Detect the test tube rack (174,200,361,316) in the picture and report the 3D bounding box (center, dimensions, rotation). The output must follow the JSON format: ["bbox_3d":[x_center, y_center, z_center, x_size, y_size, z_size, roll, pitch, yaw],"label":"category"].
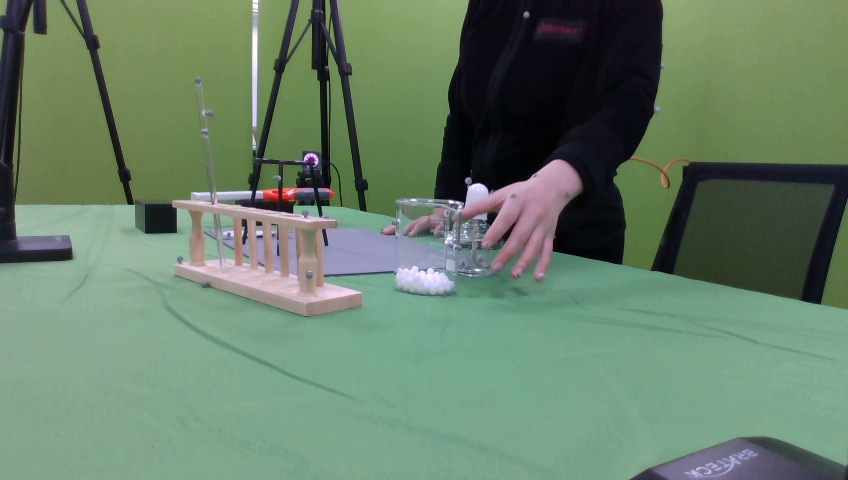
[{"bbox_3d":[-0.169,0.009,0.622,0.241,0.085,0.067,9,9,41],"label":"test tube rack"}]

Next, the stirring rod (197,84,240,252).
[{"bbox_3d":[-0.212,-0.072,0.625,0.006,0.176,0.014,-14,12,-22],"label":"stirring rod"}]

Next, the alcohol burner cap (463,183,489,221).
[{"bbox_3d":[0.067,-0.048,0.765,0.034,0.048,0.034,5,5,0],"label":"alcohol burner cap"}]

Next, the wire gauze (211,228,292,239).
[{"bbox_3d":[-0.298,-0.013,1.039,0.122,0.011,0.124,-2,6,-27],"label":"wire gauze"}]

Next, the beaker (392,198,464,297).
[{"bbox_3d":[0.005,0.007,0.647,0.074,0.100,0.083,-5,11,-44],"label":"beaker"}]

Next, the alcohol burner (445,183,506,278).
[{"bbox_3d":[0.066,-0.013,0.770,0.078,0.119,0.078,0,7,0],"label":"alcohol burner"}]

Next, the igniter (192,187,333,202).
[{"bbox_3d":[-0.316,-0.090,1.213,0.278,0.025,0.057,-5,13,-31],"label":"igniter"}]

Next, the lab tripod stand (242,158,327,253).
[{"bbox_3d":[-0.207,-0.054,0.895,0.148,0.131,0.148,2,5,0],"label":"lab tripod stand"}]
